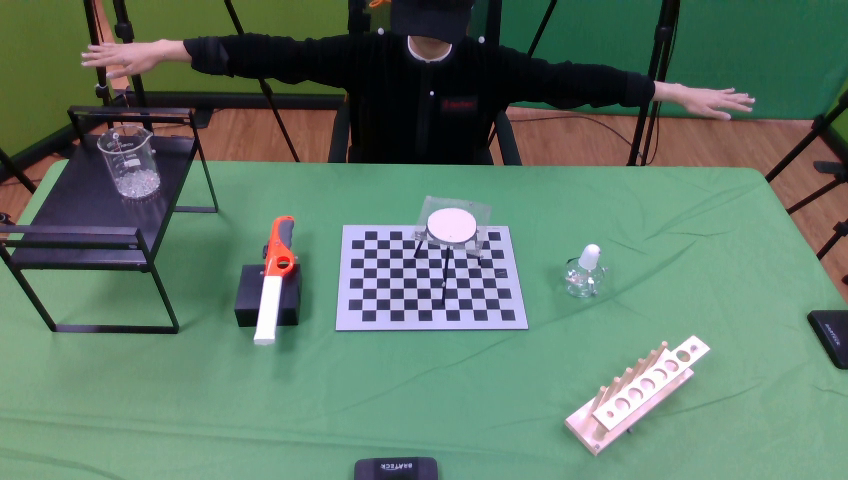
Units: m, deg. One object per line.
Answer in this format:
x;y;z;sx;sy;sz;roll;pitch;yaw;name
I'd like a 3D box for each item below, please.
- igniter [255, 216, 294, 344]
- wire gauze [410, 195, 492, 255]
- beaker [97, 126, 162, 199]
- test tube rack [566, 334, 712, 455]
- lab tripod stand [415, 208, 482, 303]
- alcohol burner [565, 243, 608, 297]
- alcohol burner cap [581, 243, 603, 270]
-0.258;0.059;1.051;0.057;0.025;0.274;2;47;-6;igniter
0.049;-0.031;1.051;0.125;0.011;0.121;12;47;9;wire gauze
-0.468;-0.124;0.979;0.084;0.101;0.073;-25;53;-26;beaker
0.338;0.228;0.950;0.242;0.085;0.066;-26;52;-26;test tube rack
0.043;0.018;1.097;0.148;0.132;0.147;1;46;0;lab tripod stand
0.299;0.048;1.103;0.078;0.119;0.077;3;45;-3;alcohol burner
0.302;0.026;1.082;0.034;0.048;0.033;4;45;-4;alcohol burner cap
